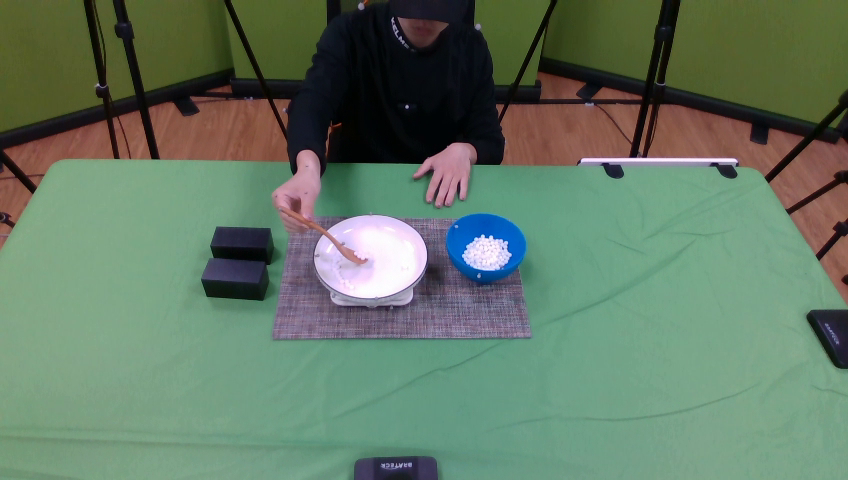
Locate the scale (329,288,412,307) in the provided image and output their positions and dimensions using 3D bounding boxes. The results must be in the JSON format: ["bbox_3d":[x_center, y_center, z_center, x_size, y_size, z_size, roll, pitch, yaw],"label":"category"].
[{"bbox_3d":[-0.098,0.042,1.139,0.149,0.032,0.199,0,46,-4],"label":"scale"}]

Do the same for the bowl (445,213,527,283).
[{"bbox_3d":[0.111,0.028,1.137,0.151,0.077,0.150,2,46,-2],"label":"bowl"}]

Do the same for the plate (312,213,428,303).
[{"bbox_3d":[-0.097,0.036,1.100,0.209,0.038,0.208,2,46,-1],"label":"plate"}]

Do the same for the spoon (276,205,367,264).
[{"bbox_3d":[-0.173,-0.010,1.042,0.021,0.195,0.041,-44,33,11],"label":"spoon"}]
